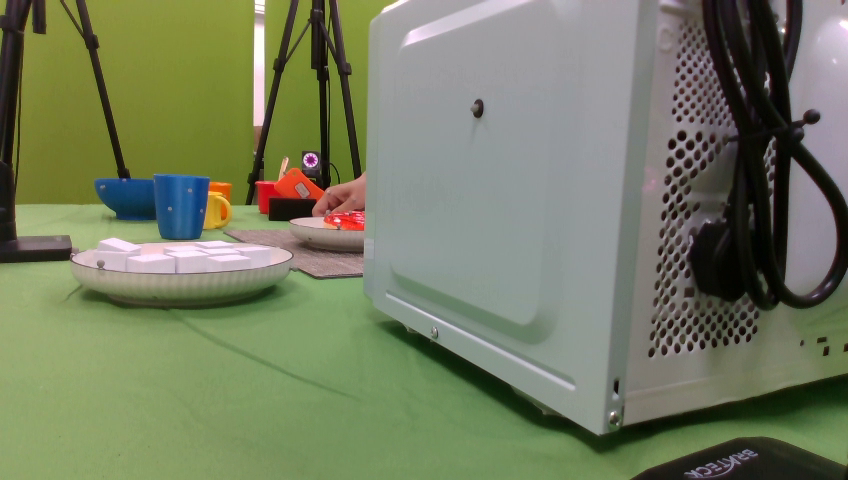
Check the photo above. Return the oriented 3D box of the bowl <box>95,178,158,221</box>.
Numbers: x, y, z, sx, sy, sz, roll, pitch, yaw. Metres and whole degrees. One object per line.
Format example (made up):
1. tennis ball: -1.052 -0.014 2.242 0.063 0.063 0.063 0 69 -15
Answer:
1. bowl: -0.576 -0.081 1.217 0.151 0.077 0.151 3 8 0

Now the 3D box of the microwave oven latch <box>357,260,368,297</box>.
1. microwave oven latch: -0.019 0.033 0.531 0.079 0.029 0.030 -1 7 -27

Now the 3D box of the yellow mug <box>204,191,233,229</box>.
1. yellow mug: -0.415 -0.057 1.132 0.130 0.064 0.100 6 8 16

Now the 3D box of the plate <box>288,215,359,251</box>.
1. plate: -0.111 -0.013 0.961 0.209 0.038 0.209 3 7 0

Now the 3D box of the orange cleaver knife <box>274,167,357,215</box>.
1. orange cleaver knife: -0.238 -0.091 1.381 0.212 0.077 0.012 31 0 -19

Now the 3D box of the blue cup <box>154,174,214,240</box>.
1. blue cup: -0.390 -0.053 0.978 0.093 0.100 0.092 3 6 0

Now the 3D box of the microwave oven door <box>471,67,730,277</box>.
1. microwave oven door: 0.213 -0.096 0.819 0.039 0.243 0.354 -5 11 -45

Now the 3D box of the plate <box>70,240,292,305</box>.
1. plate: -0.242 0.031 0.618 0.208 0.039 0.207 2 8 0

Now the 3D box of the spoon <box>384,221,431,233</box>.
1. spoon: -0.024 -0.029 1.188 0.041 0.021 0.194 -11 0 23

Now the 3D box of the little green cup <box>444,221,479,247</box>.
1. little green cup: 0.065 -0.011 1.035 0.061 0.038 0.061 1 8 0

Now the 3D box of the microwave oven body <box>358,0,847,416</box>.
1. microwave oven body: 0.211 -0.047 0.474 0.444 0.260 0.324 -1 7 -28

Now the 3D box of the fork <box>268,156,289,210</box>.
1. fork: -0.360 -0.144 1.508 0.028 0.018 0.207 1 49 0

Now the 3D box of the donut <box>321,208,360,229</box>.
1. donut: -0.115 -0.024 0.962 0.099 0.048 0.099 4 8 0
